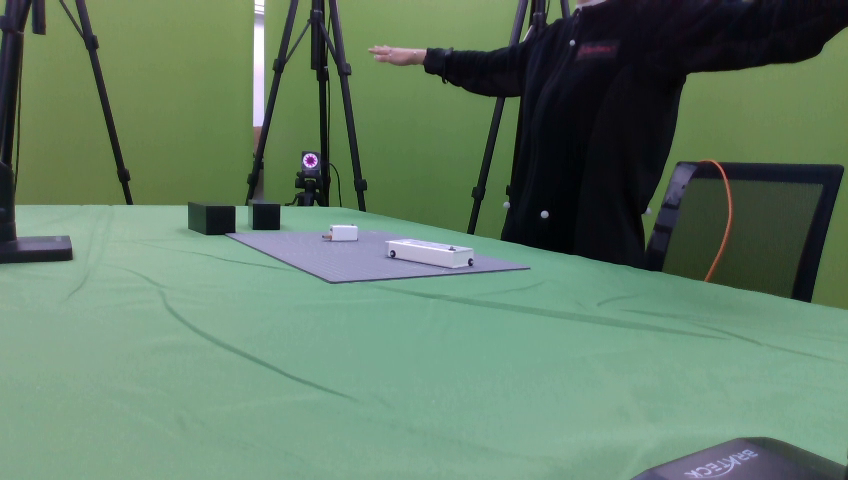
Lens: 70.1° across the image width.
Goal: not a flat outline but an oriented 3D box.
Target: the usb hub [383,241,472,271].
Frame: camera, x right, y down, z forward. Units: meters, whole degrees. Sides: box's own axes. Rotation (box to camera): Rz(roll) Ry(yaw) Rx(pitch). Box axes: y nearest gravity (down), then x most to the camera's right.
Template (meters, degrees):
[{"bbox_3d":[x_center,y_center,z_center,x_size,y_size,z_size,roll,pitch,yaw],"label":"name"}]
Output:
[{"bbox_3d":[0.003,0.020,0.842,0.124,0.025,0.050,8,9,39],"label":"usb hub"}]

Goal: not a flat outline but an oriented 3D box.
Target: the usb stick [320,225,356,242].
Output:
[{"bbox_3d":[-0.146,-0.010,1.017,0.059,0.027,0.021,-3,12,-26],"label":"usb stick"}]
